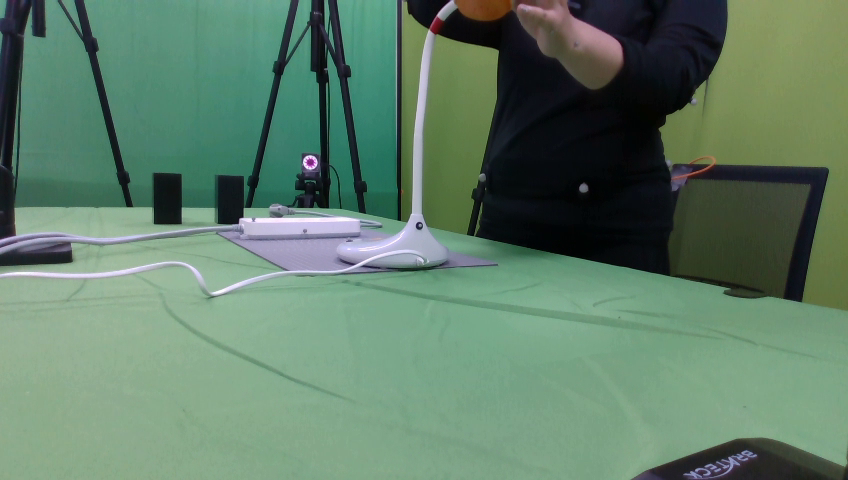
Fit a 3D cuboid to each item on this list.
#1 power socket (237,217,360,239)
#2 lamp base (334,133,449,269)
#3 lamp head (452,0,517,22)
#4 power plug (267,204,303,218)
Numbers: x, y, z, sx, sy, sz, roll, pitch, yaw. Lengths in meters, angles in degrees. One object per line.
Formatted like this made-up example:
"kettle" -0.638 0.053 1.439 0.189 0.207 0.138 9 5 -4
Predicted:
"power socket" -0.221 -0.023 1.080 0.228 0.032 0.072 -2 8 -33
"lamp base" -0.034 -0.057 0.831 0.161 0.180 0.178 -3 12 -36
"lamp head" 0.069 -0.317 0.698 0.112 0.122 0.112 7 -1 0
"power plug" -0.327 -0.059 1.404 0.073 0.035 0.052 22 -14 -26
